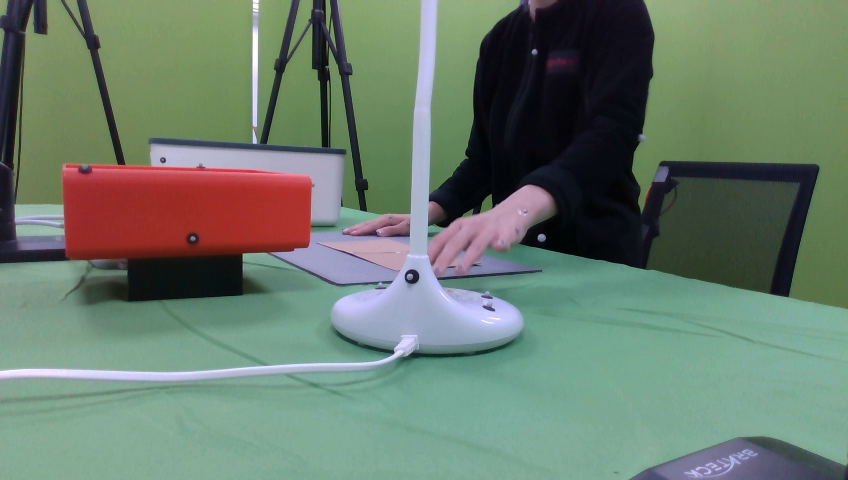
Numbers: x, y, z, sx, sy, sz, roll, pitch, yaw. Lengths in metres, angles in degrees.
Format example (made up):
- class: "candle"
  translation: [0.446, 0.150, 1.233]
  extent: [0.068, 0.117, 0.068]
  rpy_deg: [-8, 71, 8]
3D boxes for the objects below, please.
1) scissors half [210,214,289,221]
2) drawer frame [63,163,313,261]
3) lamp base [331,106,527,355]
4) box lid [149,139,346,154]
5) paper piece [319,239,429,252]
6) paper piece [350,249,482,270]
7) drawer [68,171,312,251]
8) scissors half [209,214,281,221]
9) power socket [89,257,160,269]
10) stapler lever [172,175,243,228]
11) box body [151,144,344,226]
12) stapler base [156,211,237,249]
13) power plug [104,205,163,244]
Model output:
- class: "scissors half"
  translation: [-0.357, -0.044, 1.235]
  extent: [0.175, 0.013, 0.040]
  rpy_deg: [1, -4, 9]
- class: "drawer frame"
  translation: [-0.248, -0.036, 0.626]
  extent: [0.215, 0.082, 0.200]
  rpy_deg: [-3, 9, -31]
- class: "lamp base"
  translation: [0.006, -0.012, 0.478]
  extent: [0.161, 0.180, 0.179]
  rpy_deg: [2, 10, 2]
- class: "box lid"
  translation: [-0.365, -0.191, 1.255]
  extent: [0.373, 0.015, 0.262]
  rpy_deg: [-1, 8, -24]
- class: "paper piece"
  translation: [-0.083, 0.008, 0.951]
  extent: [0.136, 0.004, 0.134]
  rpy_deg: [-1, 8, -30]
- class: "paper piece"
  translation: [-0.013, 0.026, 0.841]
  extent: [0.139, 0.008, 0.135]
  rpy_deg: [0, 11, -32]
- class: "drawer"
  translation: [-0.246, -0.036, 0.629]
  extent: [0.213, 0.073, 0.193]
  rpy_deg: [-3, 9, -30]
- class: "scissors half"
  translation: [-0.364, -0.044, 1.216]
  extent: [0.174, 0.013, 0.040]
  rpy_deg: [0, 1, 26]
- class: "power socket"
  translation: [-0.409, 0.004, 0.793]
  extent: [0.072, 0.032, 0.225]
  rpy_deg: [-2, 8, -38]
- class: "stapler lever"
  translation: [-0.217, -0.041, 0.618]
  extent: [0.027, 0.040, 0.118]
  rpy_deg: [19, 11, -2]
- class: "box body"
  translation: [-0.370, -0.119, 1.264]
  extent: [0.366, 0.160, 0.253]
  rpy_deg: [-1, 8, -24]
- class: "stapler base"
  translation: [-0.227, -0.017, 0.624]
  extent: [0.041, 0.024, 0.130]
  rpy_deg: [19, 9, -2]
- class: "power plug"
  translation: [-0.390, -0.021, 0.815]
  extent: [0.073, 0.052, 0.035]
  rpy_deg: [-1, 7, -27]
